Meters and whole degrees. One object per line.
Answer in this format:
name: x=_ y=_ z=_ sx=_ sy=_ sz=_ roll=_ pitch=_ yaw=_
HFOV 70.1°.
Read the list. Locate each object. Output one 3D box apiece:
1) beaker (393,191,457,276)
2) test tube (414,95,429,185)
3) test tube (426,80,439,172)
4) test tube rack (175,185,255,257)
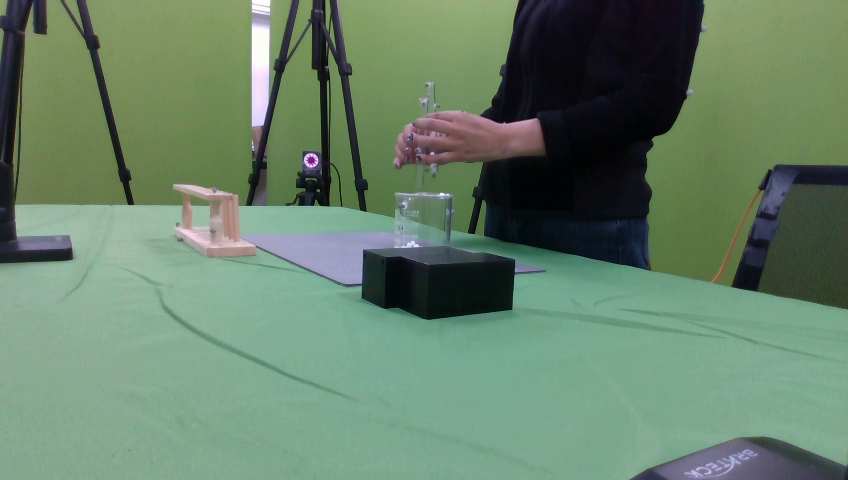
beaker: x=-0.003 y=-0.010 z=0.749 sx=0.074 sy=0.100 sz=0.083 roll=-3 pitch=8 yaw=-40
test tube: x=-0.004 y=-0.161 z=0.991 sx=0.017 sy=0.150 sz=0.017 roll=4 pitch=23 yaw=-1
test tube: x=0.014 y=-0.189 z=1.003 sx=0.017 sy=0.150 sz=0.017 roll=-3 pitch=8 yaw=1
test tube rack: x=-0.324 y=-0.035 z=0.922 sx=0.067 sy=0.085 sz=0.241 roll=-2 pitch=9 yaw=-31
